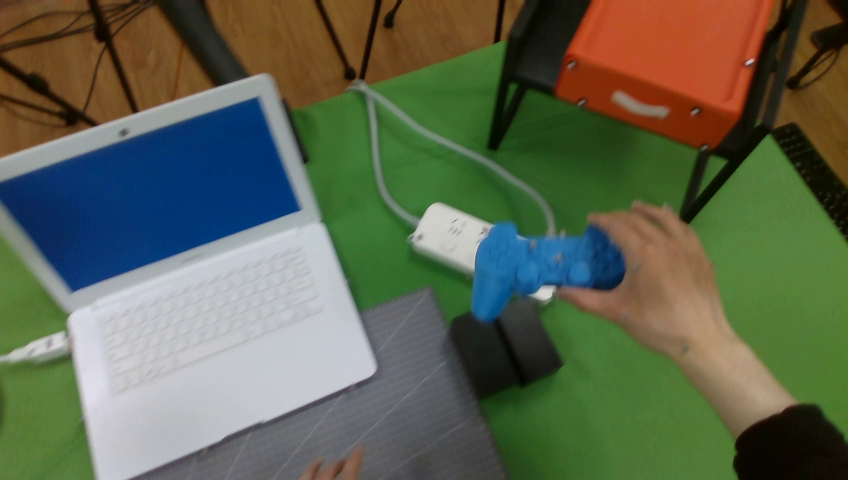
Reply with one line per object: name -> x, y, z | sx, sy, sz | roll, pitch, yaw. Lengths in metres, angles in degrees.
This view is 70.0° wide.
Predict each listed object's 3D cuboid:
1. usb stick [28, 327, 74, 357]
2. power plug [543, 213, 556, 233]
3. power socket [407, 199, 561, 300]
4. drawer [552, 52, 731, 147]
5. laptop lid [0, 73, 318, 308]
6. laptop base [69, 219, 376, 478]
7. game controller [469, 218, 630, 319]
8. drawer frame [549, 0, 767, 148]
usb stick -> -0.472, 0.129, 0.780 | 0.059, 0.027, 0.021 | -17, 62, -11
power plug -> 0.167, 0.008, 0.819 | 0.035, 0.053, 0.072 | 33, 69, 13
power socket -> 0.088, 0.012, 0.841 | 0.226, 0.033, 0.072 | 24, 68, 9
drawer -> 0.283, -0.239, 0.729 | 0.194, 0.074, 0.211 | 22, 68, 9
laptop lid -> -0.329, -0.053, 0.757 | 0.357, 0.244, 0.013 | -22, 44, -9
laptop base -> -0.265, 0.129, 0.796 | 0.355, 0.023, 0.234 | -21, 71, -9
game controller -> 0.121, 0.026, 0.586 | 0.155, 0.052, 0.096 | 0, 72, 4
drawer frame -> 0.283, -0.244, 0.729 | 0.201, 0.083, 0.212 | 22, 68, 9
